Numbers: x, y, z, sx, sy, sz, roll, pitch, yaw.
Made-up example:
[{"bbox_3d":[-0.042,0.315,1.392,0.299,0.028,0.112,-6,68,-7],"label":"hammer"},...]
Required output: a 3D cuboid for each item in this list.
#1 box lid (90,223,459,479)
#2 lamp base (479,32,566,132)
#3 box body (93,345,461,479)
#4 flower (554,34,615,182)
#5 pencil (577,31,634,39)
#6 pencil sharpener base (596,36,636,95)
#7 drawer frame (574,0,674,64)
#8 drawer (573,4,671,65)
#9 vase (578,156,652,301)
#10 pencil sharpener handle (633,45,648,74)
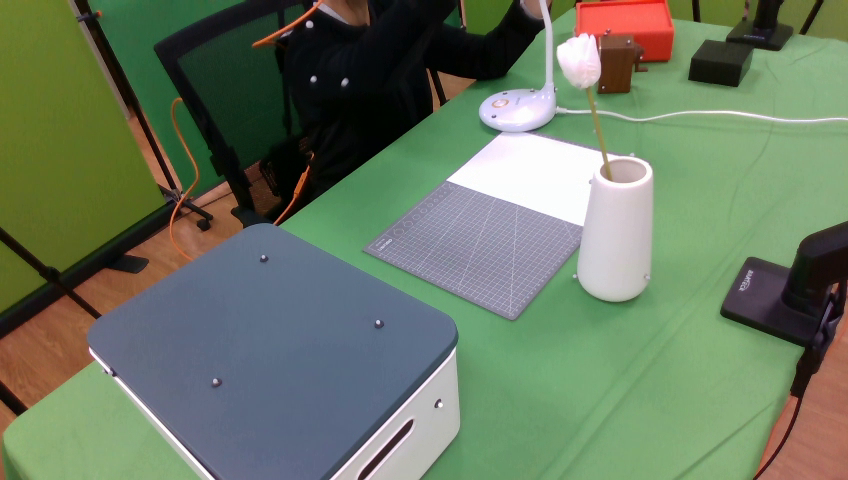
[{"bbox_3d":[-0.174,0.102,0.666,0.368,0.015,0.264,24,48,35],"label":"box lid"},{"bbox_3d":[0.201,-0.332,1.218,0.179,0.181,0.160,1,41,7],"label":"lamp base"},{"bbox_3d":[-0.162,0.170,0.708,0.361,0.161,0.255,25,50,34],"label":"box body"},{"bbox_3d":[0.237,-0.083,0.774,0.044,0.363,0.038,-22,26,6],"label":"flower"},{"bbox_3d":[0.431,-0.488,1.443,0.012,0.012,0.192,-25,30,-18],"label":"pencil"},{"bbox_3d":[0.406,-0.369,1.280,0.076,0.107,0.061,1,41,13],"label":"pencil sharpener base"},{"bbox_3d":[0.464,-0.492,1.434,0.213,0.083,0.201,1,40,12],"label":"drawer frame"},{"bbox_3d":[0.461,-0.490,1.435,0.211,0.073,0.194,2,40,12],"label":"drawer"},{"bbox_3d":[0.261,-0.011,0.812,0.098,0.201,0.097,-4,40,4],"label":"vase"},{"bbox_3d":[0.454,-0.378,1.262,0.030,0.068,0.036,1,47,13],"label":"pencil sharpener handle"}]
